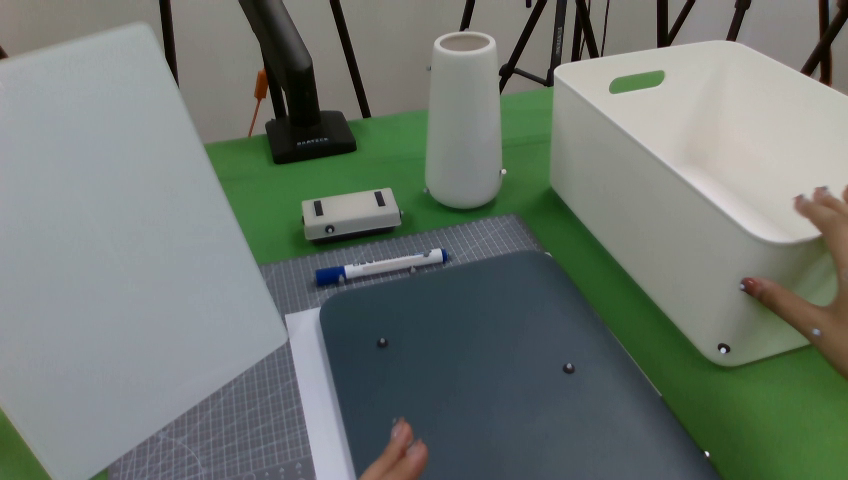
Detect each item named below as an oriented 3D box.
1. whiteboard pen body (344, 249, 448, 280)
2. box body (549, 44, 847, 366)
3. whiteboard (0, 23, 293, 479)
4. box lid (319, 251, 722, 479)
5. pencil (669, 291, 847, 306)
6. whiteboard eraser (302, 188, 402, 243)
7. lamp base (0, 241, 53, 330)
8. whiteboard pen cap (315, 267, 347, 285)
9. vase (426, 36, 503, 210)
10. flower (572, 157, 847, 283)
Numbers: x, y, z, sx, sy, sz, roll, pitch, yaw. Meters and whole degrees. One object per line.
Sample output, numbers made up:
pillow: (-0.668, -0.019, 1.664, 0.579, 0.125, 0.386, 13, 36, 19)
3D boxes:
whiteboard pen body: (-0.042, 0.029, 0.661, 0.141, 0.017, 0.017, -10, 38, -10)
box body: (0.319, -0.060, 0.646, 0.255, 0.162, 0.359, -13, 39, -13)
whiteboard: (-0.286, 0.007, 0.512, 0.217, 0.308, 0.142, -34, 28, -33)
box lid: (0.065, 0.144, 0.514, 0.264, 0.015, 0.367, -12, 39, -12)
pencil: (0.343, 0.060, 0.605, 0.194, 0.012, 0.012, 2, 38, 3)
whiteboard eraser: (-0.087, -0.027, 0.719, 0.113, 0.042, 0.055, -11, 36, -10)
lamp base: (-0.494, -0.008, 0.595, 0.178, 0.182, 0.160, 13, 40, 22)
whiteboard pen cap: (-0.100, 0.039, 0.650, 0.033, 0.018, 0.018, -7, 38, -12)
vase: (0.050, -0.135, 0.724, 0.098, 0.202, 0.097, 0, 38, 1)
flower: (0.332, -0.018, 0.697, 0.358, 0.038, 0.044, 30, 42, 32)
